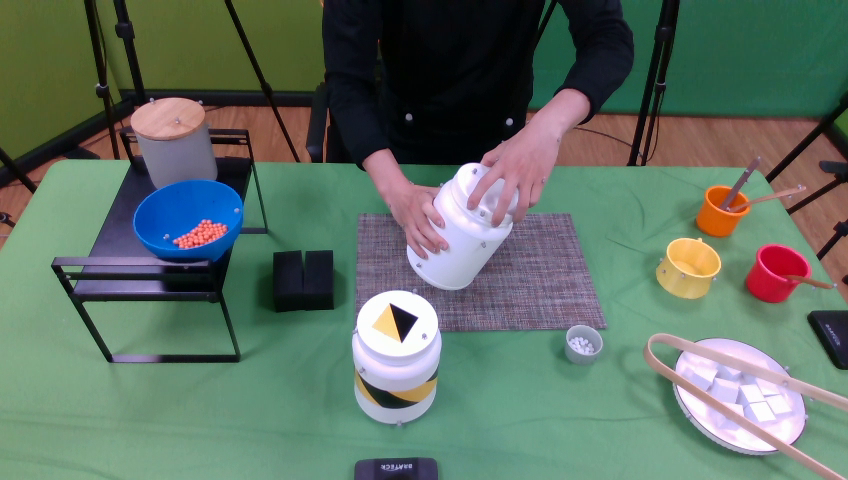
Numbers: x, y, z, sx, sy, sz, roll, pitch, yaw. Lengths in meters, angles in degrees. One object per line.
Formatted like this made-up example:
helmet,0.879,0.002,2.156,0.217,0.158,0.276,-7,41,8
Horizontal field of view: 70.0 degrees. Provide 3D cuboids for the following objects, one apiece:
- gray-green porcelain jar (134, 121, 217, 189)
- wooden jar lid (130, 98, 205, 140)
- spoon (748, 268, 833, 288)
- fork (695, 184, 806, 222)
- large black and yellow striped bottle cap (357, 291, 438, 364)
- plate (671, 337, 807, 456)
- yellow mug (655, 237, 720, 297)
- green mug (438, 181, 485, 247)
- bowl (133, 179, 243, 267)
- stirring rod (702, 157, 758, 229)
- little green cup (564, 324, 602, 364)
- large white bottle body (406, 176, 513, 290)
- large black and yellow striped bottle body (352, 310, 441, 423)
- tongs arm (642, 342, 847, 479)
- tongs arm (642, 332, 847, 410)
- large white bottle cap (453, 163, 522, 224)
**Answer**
gray-green porcelain jar,-0.397,-0.141,0.979,0.106,0.127,0.105,2,47,-2
wooden jar lid,-0.393,-0.183,0.934,0.108,0.021,0.107,3,44,-2
spoon,0.660,0.068,1.097,0.041,0.193,0.021,-4,91,-6
fork,0.658,-0.074,1.229,0.207,0.019,0.028,-23,35,37
large black and yellow striped bottle cap,-0.037,0.121,0.851,0.115,0.019,0.114,1,46,-1
plate,0.504,0.254,0.984,0.208,0.039,0.206,2,46,-2
yellow mug,0.509,0.041,1.167,0.099,0.064,0.130,24,48,18
green mug,0.071,-0.039,1.178,0.092,0.105,0.124,12,47,7
bowl,-0.339,-0.013,0.895,0.151,0.077,0.150,2,46,-2
stirring rod,0.634,-0.096,1.257,0.014,0.006,0.176,38,97,28
little green cup,0.269,0.179,1.035,0.061,0.039,0.061,3,46,-2
large white bottle body,0.063,-0.020,0.989,0.131,0.185,0.130,18,43,-18
large black and yellow striped bottle body,-0.042,0.178,0.912,0.131,0.185,0.130,2,46,-2
tongs arm,0.504,0.279,0.918,0.386,0.028,0.028,33,59,22
tongs arm,0.546,0.227,0.968,0.384,0.026,0.050,22,52,13
large white bottle cap,0.099,-0.073,0.933,0.115,0.018,0.114,18,43,-18
